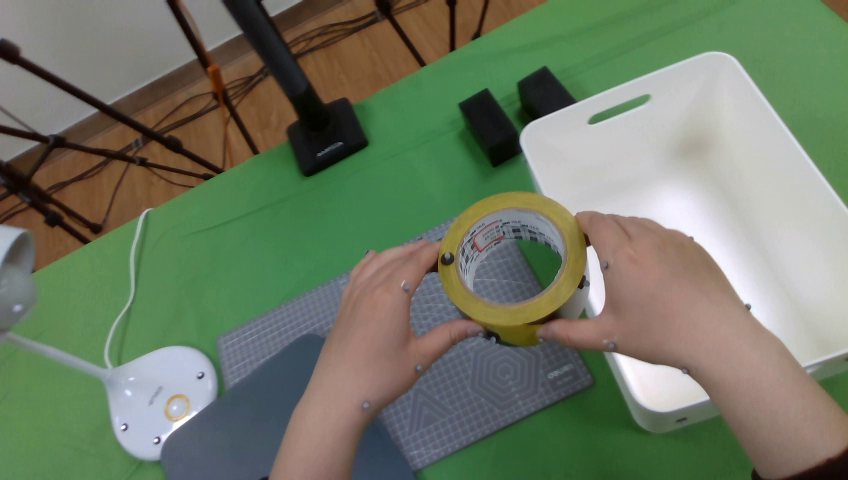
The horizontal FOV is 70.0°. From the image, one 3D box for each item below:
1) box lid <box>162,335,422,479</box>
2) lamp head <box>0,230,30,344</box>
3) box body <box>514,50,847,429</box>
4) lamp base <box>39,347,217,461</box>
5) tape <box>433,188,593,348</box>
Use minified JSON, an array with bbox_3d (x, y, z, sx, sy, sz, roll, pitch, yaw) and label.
[{"bbox_3d":[-0.148,0.315,0.736,0.263,0.015,0.368,-38,61,-7],"label":"box lid"},{"bbox_3d":[-0.432,0.037,0.535,0.123,0.113,0.111,11,62,-14],"label":"lamp head"},{"bbox_3d":[0.285,0.001,0.681,0.254,0.162,0.360,-22,59,6],"label":"box body"},{"bbox_3d":[-0.397,0.191,0.791,0.178,0.182,0.159,7,65,24],"label":"lamp base"},{"bbox_3d":[0.068,0.020,0.465,0.116,0.053,0.116,-7,62,14],"label":"tape"}]
